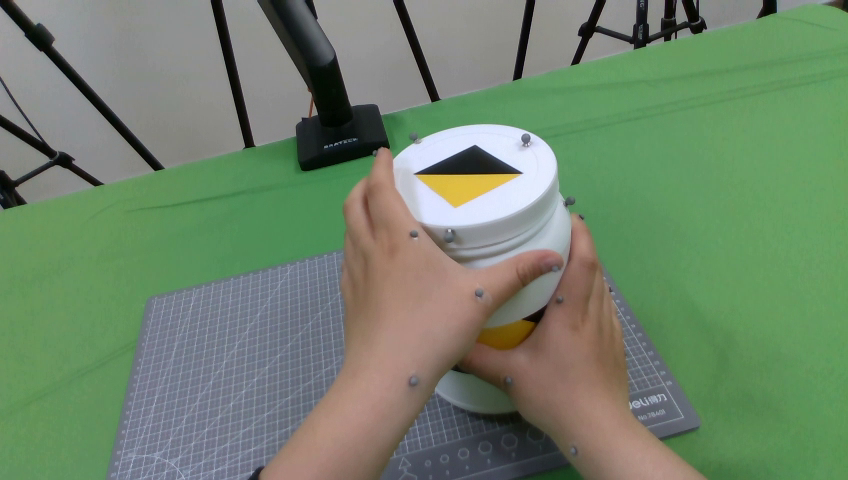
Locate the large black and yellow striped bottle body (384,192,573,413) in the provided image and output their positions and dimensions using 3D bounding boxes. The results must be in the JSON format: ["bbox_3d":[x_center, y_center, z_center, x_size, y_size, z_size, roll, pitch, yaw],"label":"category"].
[{"bbox_3d":[0.044,0.026,0.450,0.130,0.186,0.129,-7,41,7],"label":"large black and yellow striped bottle body"}]

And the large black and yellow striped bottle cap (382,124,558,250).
[{"bbox_3d":[0.029,-0.039,0.395,0.115,0.019,0.114,-8,41,7],"label":"large black and yellow striped bottle cap"}]
